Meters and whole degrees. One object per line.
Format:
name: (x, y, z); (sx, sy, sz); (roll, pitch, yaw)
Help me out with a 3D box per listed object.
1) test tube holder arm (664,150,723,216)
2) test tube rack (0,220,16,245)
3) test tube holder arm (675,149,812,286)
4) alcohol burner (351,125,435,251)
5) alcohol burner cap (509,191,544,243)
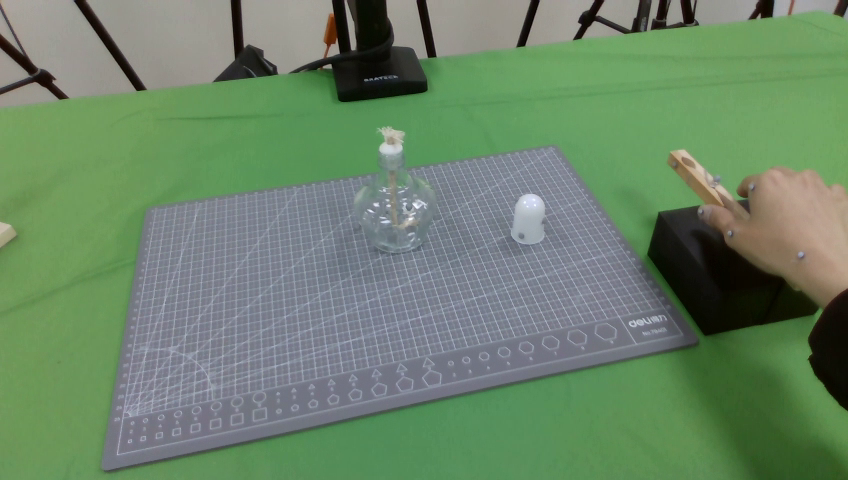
test tube holder arm: (0.246, -0.053, 0.548); (0.010, 0.015, 0.087); (-19, 44, -4)
test tube rack: (-0.480, 0.029, 0.500); (0.066, 0.086, 0.241); (14, 44, 16)
test tube holder arm: (0.263, -0.026, 0.516); (0.013, 0.015, 0.176); (-20, 44, -5)
alcohol burner: (-0.029, -0.050, 0.547); (0.078, 0.120, 0.077); (-2, 40, 2)
alcohol burner cap: (0.097, -0.023, 0.568); (0.034, 0.048, 0.033); (-1, 41, 2)
